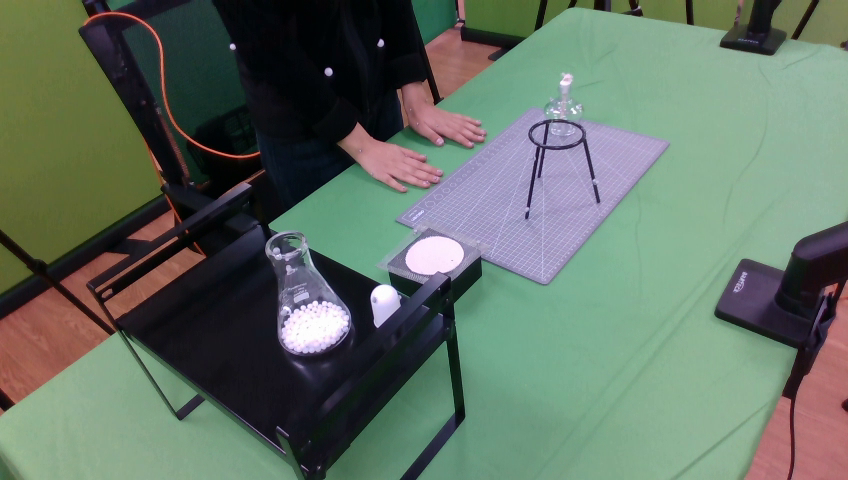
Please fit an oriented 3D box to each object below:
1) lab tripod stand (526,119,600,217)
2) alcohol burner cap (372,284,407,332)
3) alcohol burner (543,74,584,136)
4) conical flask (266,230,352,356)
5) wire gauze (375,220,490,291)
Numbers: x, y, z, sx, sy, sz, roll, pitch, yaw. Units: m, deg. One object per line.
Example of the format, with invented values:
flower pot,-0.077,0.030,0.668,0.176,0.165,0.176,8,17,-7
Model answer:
lab tripod stand,0.220,-0.122,0.995,0.148,0.132,0.147,-3,39,3
alcohol burner cap,-0.036,0.066,0.608,0.034,0.048,0.033,-5,38,5
alcohol burner,0.270,-0.263,1.169,0.078,0.119,0.077,-6,39,5
conical flask,-0.117,0.047,0.580,0.075,0.122,0.075,-5,40,4
wire gauze,0.012,0.022,0.882,0.120,0.011,0.125,22,47,32
